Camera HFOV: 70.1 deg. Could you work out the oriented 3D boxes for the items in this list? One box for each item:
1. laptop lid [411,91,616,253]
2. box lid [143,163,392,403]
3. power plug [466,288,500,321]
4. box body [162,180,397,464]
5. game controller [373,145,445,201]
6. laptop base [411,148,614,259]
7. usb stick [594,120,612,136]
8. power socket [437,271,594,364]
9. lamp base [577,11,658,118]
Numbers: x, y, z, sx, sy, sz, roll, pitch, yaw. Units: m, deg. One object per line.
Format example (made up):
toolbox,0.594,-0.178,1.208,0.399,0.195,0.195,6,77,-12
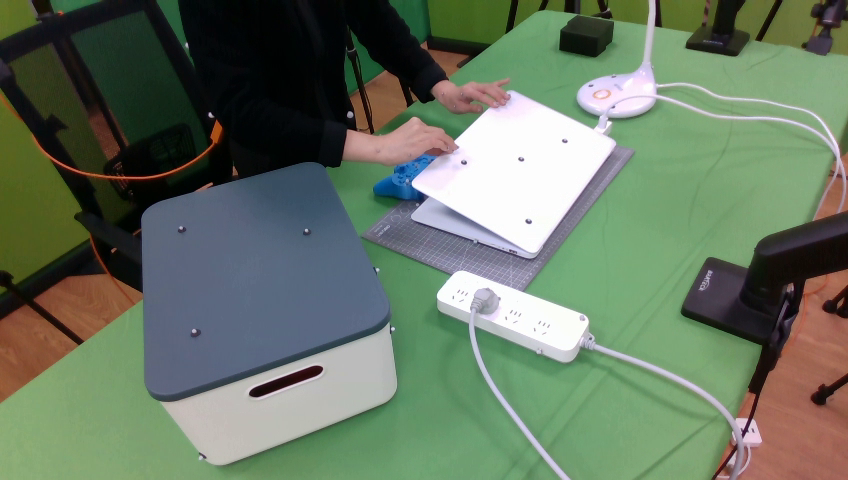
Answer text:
laptop lid,0.166,-0.136,1.042,0.240,0.013,0.357,31,51,17
box lid,-0.212,0.025,0.753,0.264,0.015,0.368,-18,40,-13
power plug,0.072,0.093,0.813,0.073,0.053,0.035,-37,49,-29
box body,-0.205,0.080,0.802,0.255,0.161,0.361,-18,41,-13
game controller,-0.018,-0.129,1.111,0.096,0.052,0.155,20,48,27
laptop base,0.167,-0.102,1.074,0.234,0.023,0.355,17,46,30
usb stick,0.335,-0.203,1.148,0.021,0.027,0.059,24,51,26
power socket,0.118,0.102,0.830,0.225,0.033,0.072,20,48,28
lamp base,0.406,-0.363,1.223,0.180,0.181,0.159,-20,42,-18
